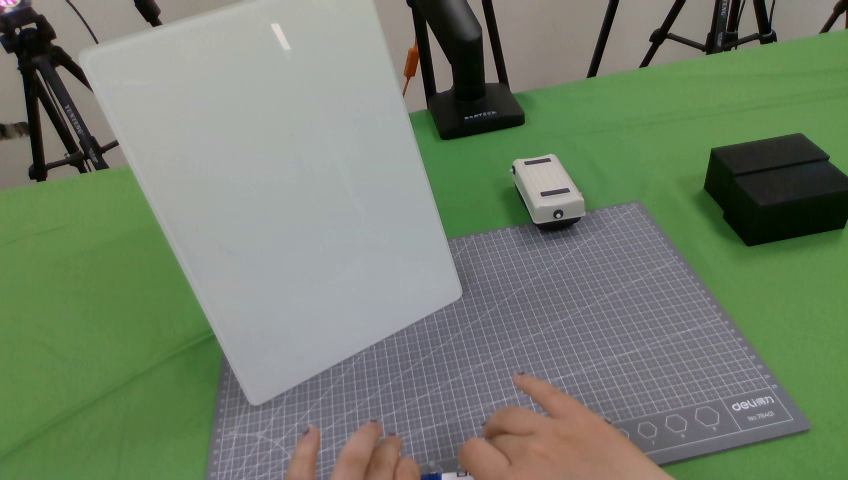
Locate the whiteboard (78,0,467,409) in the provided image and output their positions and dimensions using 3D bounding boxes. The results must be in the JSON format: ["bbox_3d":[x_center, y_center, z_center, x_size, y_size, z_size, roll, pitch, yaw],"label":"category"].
[{"bbox_3d":[-0.122,-0.051,0.548,0.217,0.307,0.142,-26,23,-18],"label":"whiteboard"}]

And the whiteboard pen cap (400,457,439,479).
[{"bbox_3d":[-0.008,0.152,0.375,0.033,0.018,0.018,-43,49,-17],"label":"whiteboard pen cap"}]

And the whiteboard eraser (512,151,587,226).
[{"bbox_3d":[0.136,-0.057,0.670,0.055,0.042,0.111,-12,36,0],"label":"whiteboard eraser"}]

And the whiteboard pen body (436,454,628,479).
[{"bbox_3d":[0.055,0.148,0.376,0.141,0.017,0.017,-6,39,2],"label":"whiteboard pen body"}]
